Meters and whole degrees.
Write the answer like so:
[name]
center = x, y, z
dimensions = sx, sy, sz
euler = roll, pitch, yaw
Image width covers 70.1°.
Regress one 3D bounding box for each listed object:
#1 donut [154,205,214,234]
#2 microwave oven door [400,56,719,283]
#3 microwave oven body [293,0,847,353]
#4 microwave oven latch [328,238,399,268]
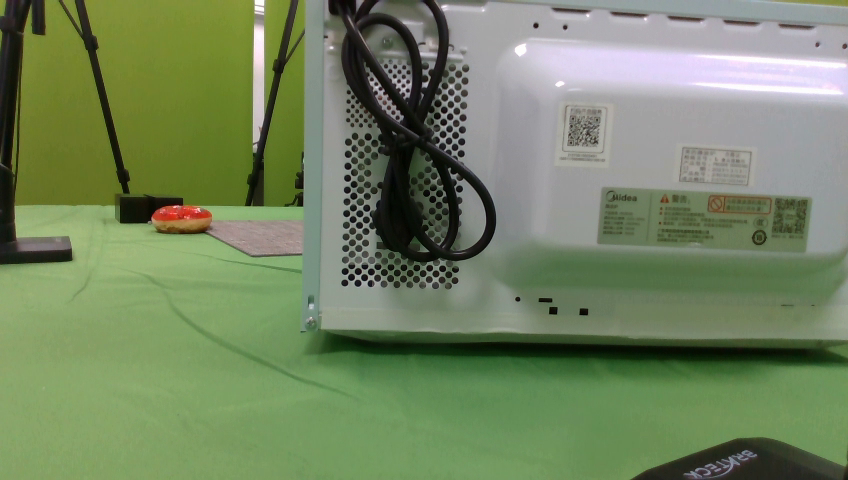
[donut]
center = -0.426, -0.037, 1.075
dimensions = 0.099, 0.048, 0.099
euler = 2, 12, 0
[microwave oven door]
center = 0.155, -0.077, 0.698
dimensions = 0.356, 0.243, 0.039
euler = 2, 8, -5
[microwave oven body]
center = 0.122, -0.055, 0.550
dimensions = 0.442, 0.260, 0.325
euler = 3, 7, -5
[microwave oven latch]
center = -0.069, 0.015, 0.694
dimensions = 0.079, 0.029, 0.030
euler = 3, 7, -4
